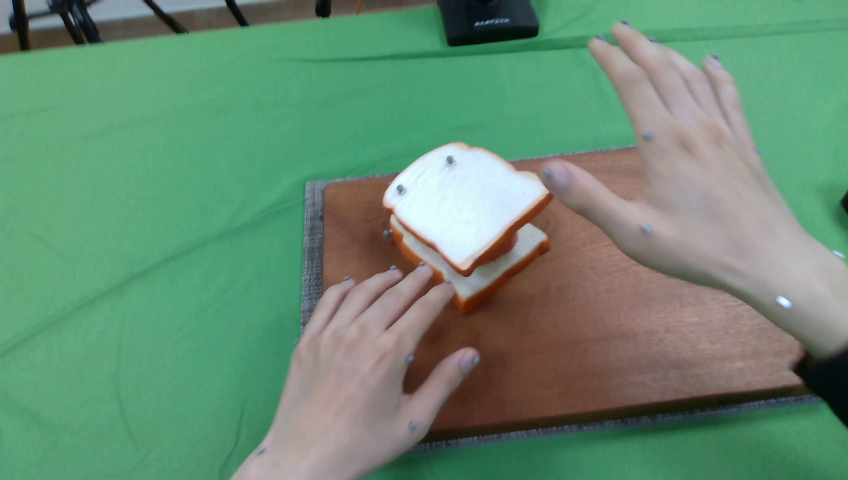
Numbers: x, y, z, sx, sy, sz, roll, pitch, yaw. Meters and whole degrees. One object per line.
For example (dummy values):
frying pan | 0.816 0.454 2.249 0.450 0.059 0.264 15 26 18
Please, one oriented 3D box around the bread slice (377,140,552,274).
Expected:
bread slice | 0.023 -0.035 0.513 0.107 0.018 0.133 -43 49 -17

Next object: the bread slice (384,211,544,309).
bread slice | 0.026 -0.009 0.547 0.105 0.019 0.130 -36 58 -24
